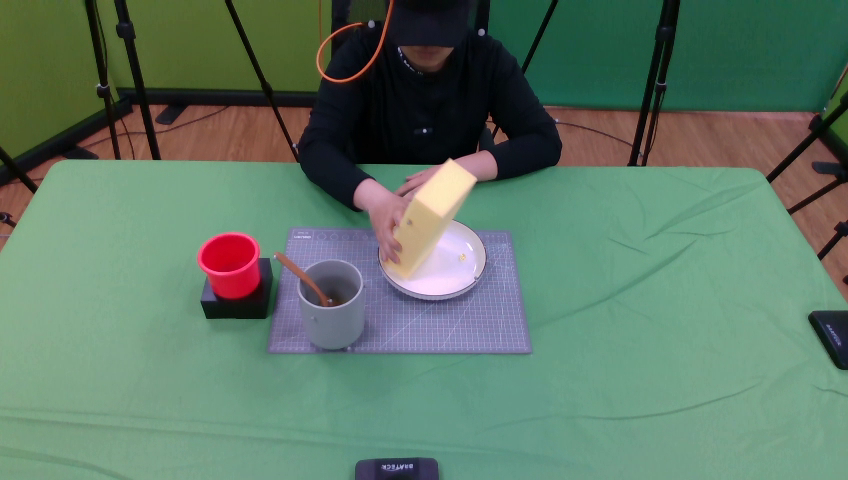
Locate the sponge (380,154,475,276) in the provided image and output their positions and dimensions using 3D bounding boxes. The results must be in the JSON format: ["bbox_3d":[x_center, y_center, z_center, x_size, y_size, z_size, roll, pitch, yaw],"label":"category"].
[{"bbox_3d":[0.003,-0.038,1.064,0.061,0.207,0.118,37,52,6],"label":"sponge"}]

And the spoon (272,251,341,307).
[{"bbox_3d":[-0.180,0.077,0.982,0.021,0.195,0.041,-8,46,28],"label":"spoon"}]

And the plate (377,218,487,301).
[{"bbox_3d":[0.015,0.037,1.147,0.208,0.039,0.206,2,46,-2],"label":"plate"}]

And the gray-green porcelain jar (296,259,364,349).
[{"bbox_3d":[-0.152,0.111,1.003,0.106,0.127,0.105,2,46,-2],"label":"gray-green porcelain jar"}]
